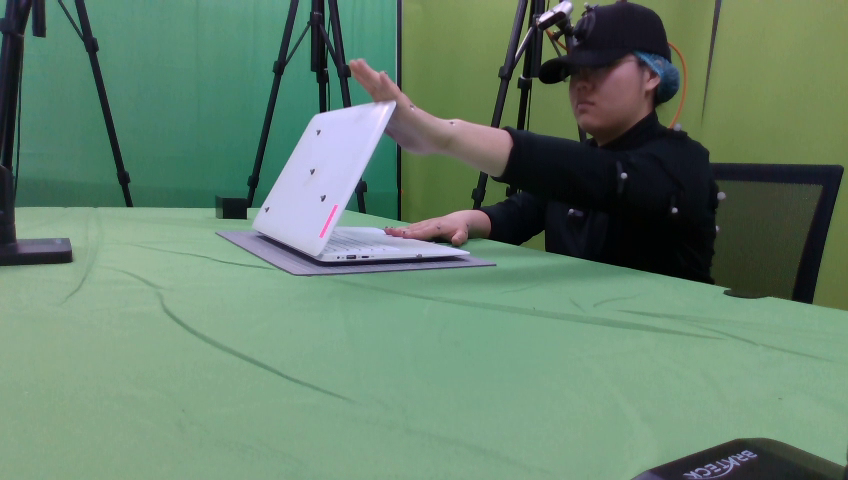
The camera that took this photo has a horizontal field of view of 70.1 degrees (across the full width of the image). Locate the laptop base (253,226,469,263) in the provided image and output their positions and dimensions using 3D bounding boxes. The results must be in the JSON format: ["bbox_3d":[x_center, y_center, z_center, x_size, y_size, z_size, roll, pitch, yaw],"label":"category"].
[{"bbox_3d":[-0.117,0.005,0.971,0.237,0.023,0.352,3,6,-30],"label":"laptop base"}]

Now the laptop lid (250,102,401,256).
[{"bbox_3d":[-0.168,-0.102,0.924,0.013,0.241,0.355,32,-7,-29],"label":"laptop lid"}]
